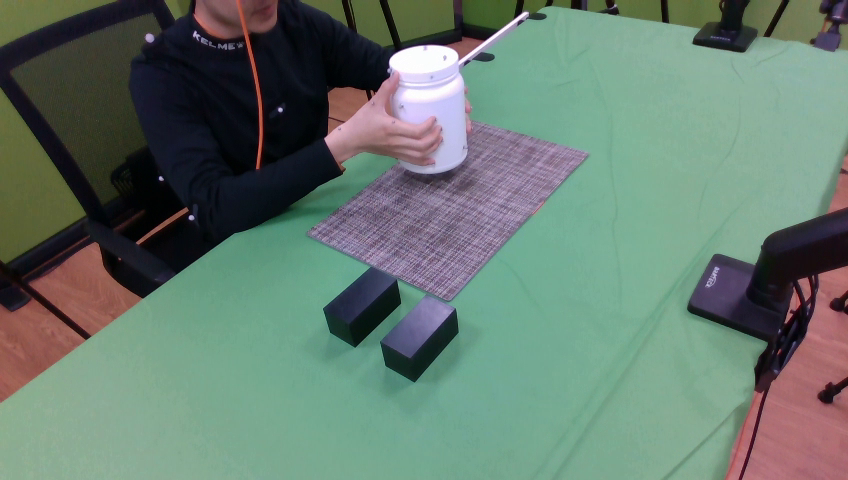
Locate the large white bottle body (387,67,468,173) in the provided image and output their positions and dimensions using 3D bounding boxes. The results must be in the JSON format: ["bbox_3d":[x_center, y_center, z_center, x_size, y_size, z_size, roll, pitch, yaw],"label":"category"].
[{"bbox_3d":[0.007,-0.225,1.051,0.130,0.185,0.130,-4,38,4],"label":"large white bottle body"}]

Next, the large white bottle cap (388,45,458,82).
[{"bbox_3d":[-0.002,-0.292,0.997,0.115,0.018,0.114,-4,38,4],"label":"large white bottle cap"}]
